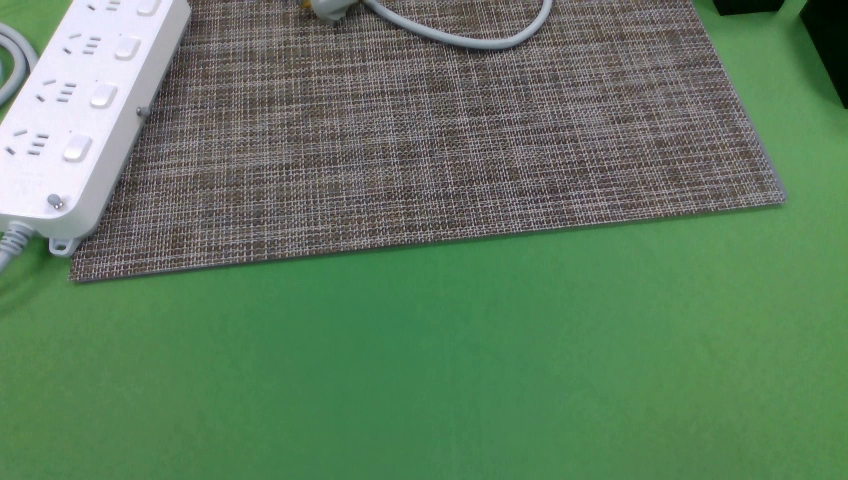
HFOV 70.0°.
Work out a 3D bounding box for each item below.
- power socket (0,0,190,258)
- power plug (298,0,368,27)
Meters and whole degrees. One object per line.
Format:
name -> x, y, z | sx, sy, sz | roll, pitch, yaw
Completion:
power socket -> -0.222, -0.097, 0.403 | 0.072, 0.033, 0.225 | 7, 62, 3
power plug -> -0.061, -0.190, 0.462 | 0.052, 0.035, 0.072 | 9, 43, 32
